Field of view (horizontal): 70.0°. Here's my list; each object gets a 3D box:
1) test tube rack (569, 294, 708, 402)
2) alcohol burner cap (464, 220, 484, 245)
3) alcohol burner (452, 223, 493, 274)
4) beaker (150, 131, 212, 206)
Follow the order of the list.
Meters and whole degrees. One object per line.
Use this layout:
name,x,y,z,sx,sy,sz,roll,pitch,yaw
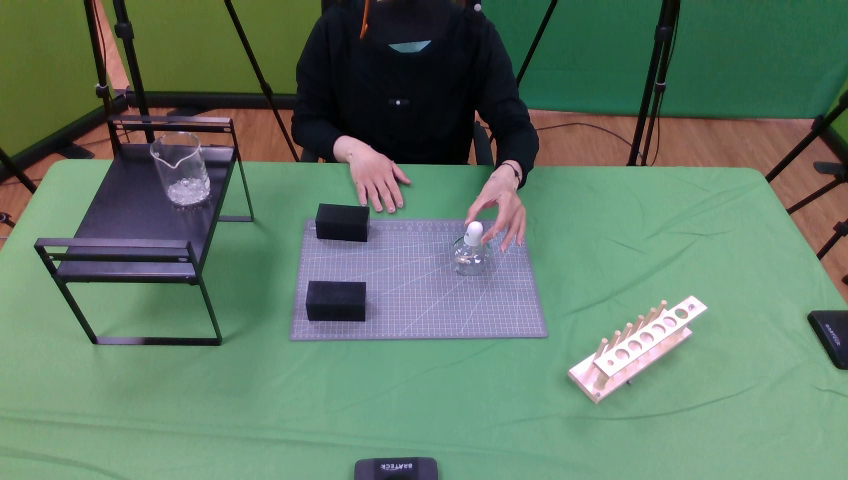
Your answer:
test tube rack,0.360,0.167,1.015,0.242,0.085,0.066,-25,52,-25
alcohol burner cap,0.092,-0.017,1.099,0.034,0.048,0.033,5,51,-6
alcohol burner,0.091,0.008,1.125,0.078,0.119,0.077,2,48,-2
beaker,-0.385,-0.110,0.969,0.074,0.101,0.083,-6,48,-9
